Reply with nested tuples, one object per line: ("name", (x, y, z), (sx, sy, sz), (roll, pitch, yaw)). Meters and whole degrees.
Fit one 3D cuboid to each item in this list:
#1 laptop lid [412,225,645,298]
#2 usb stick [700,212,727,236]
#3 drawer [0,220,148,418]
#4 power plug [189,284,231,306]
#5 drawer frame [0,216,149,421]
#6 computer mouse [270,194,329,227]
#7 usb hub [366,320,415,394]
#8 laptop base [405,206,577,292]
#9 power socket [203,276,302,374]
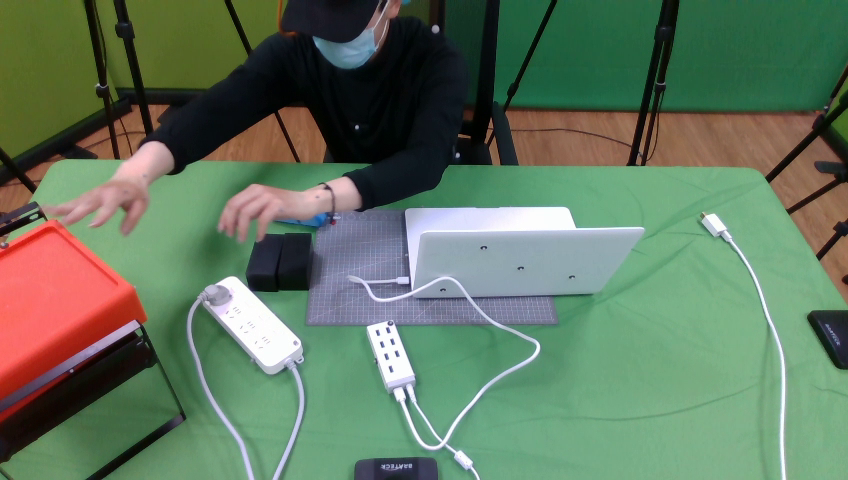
("laptop lid", (0.161, 0.042, 1.012), (0.357, 0.242, 0.013), (0, 59, -7))
("usb stick", (0.606, -0.038, 1.272), (0.027, 0.021, 0.059), (-18, 56, -20))
("drawer", (-0.509, 0.093, 0.783), (0.193, 0.073, 0.211), (32, 53, 24))
("power plug", (-0.367, 0.100, 1.037), (0.072, 0.053, 0.035), (-23, 53, -26))
("drawer frame", (-0.510, 0.093, 0.780), (0.201, 0.083, 0.213), (31, 52, 23))
("computer mouse", (-0.254, -0.064, 1.228), (0.117, 0.041, 0.062), (5, 49, 10))
("usb hub", (-0.056, 0.192, 1.009), (0.049, 0.025, 0.124), (-12, 49, -16))
("laptop base", (0.143, 0.018, 1.196), (0.355, 0.023, 0.234), (-1, 43, -6))
("power socket", (-0.296, 0.141, 1.034), (0.072, 0.033, 0.225), (-34, 58, -30))
